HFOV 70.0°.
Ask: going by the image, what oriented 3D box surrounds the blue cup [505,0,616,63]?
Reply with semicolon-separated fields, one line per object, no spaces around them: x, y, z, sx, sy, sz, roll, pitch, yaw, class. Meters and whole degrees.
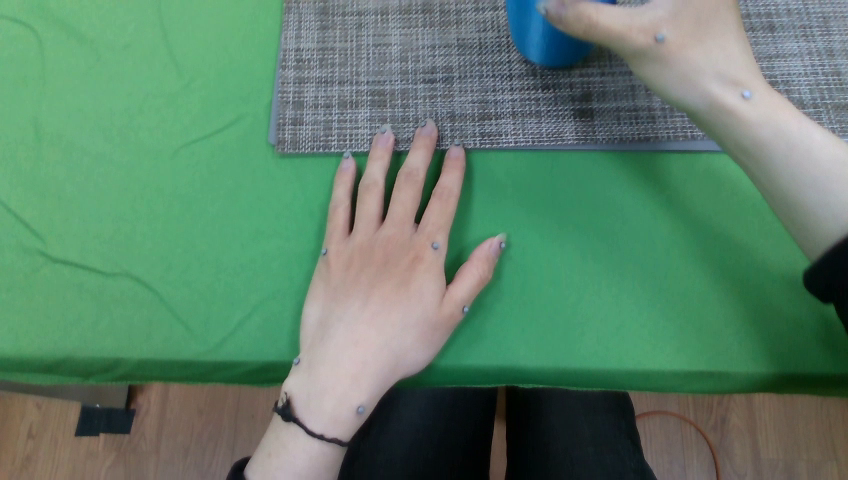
0.090;-0.171;0.395;0.092;0.101;0.092;-1;70;4;blue cup
